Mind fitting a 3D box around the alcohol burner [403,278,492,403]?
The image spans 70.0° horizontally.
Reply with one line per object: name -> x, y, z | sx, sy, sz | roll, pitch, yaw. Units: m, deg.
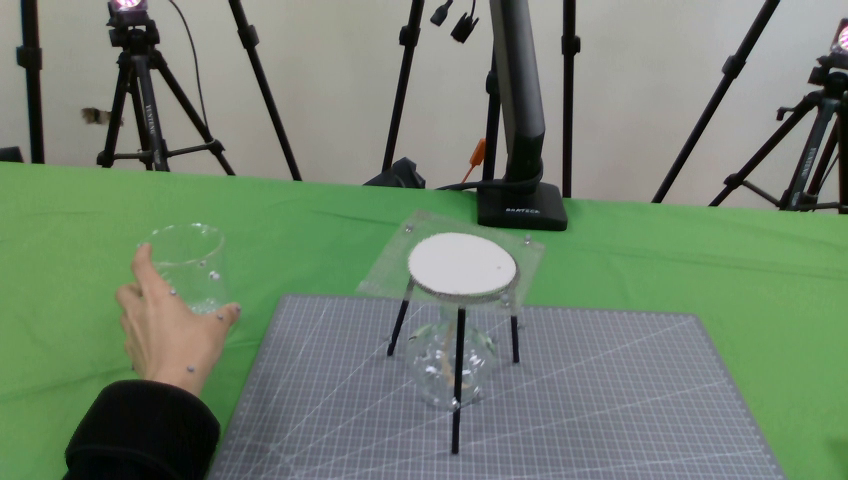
alcohol burner -> 0.022, 0.081, 0.518 | 0.078, 0.120, 0.077 | 4, 32, -2

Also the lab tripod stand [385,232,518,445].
lab tripod stand -> 0.029, 0.074, 0.512 | 0.148, 0.132, 0.147 | 4, 33, -2

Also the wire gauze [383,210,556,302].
wire gauze -> 0.032, 0.006, 0.463 | 0.125, 0.011, 0.120 | 8, 26, -6

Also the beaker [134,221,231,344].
beaker -> -0.225, 0.041, 0.581 | 0.074, 0.101, 0.083 | 10, 32, 10
